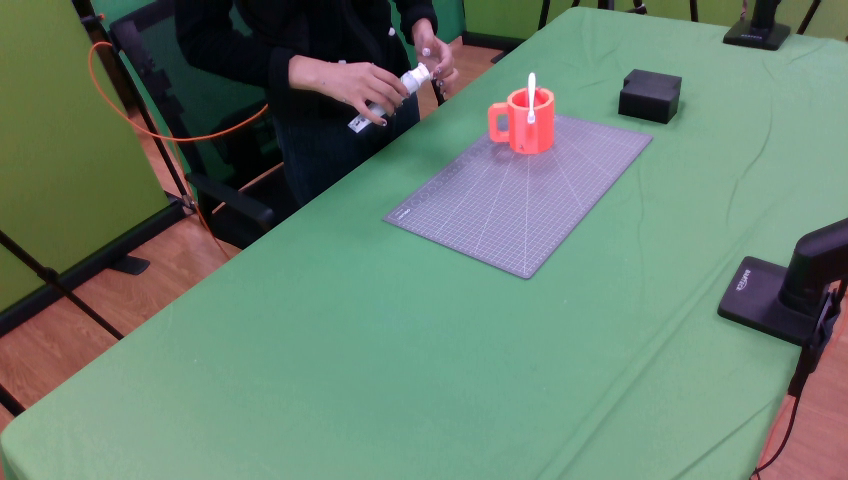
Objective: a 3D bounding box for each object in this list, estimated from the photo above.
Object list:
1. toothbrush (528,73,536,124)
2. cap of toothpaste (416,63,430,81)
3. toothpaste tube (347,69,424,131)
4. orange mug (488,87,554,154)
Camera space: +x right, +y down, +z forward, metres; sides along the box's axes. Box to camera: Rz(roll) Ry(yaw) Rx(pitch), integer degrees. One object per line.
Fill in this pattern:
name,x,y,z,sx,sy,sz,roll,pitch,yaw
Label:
toothbrush,0.198,-0.267,1.114,0.014,0.017,0.181,-5,40,14
cap of toothpaste,-0.003,-0.300,1.084,0.011,0.037,0.037,-39,47,-11
toothpaste tube,-0.066,-0.251,1.078,0.165,0.035,0.054,-38,30,-6
orange mug,0.185,-0.227,1.151,0.126,0.101,0.083,1,41,5
